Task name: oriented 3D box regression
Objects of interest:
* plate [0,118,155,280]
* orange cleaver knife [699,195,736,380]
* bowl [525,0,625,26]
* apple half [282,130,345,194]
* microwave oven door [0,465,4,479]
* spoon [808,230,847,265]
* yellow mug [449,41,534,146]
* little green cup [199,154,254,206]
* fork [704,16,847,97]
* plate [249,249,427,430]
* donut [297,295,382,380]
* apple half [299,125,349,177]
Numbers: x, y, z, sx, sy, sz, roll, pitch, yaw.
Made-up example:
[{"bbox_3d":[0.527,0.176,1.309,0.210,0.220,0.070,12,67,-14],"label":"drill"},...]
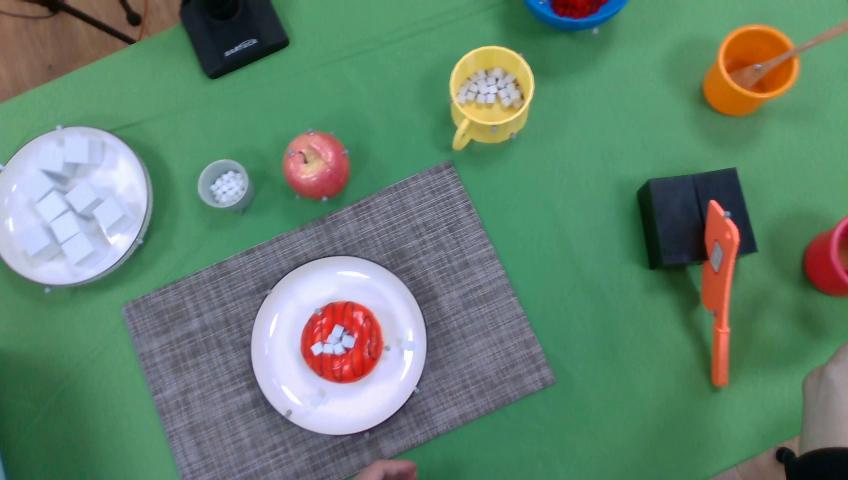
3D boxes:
[{"bbox_3d":[-0.437,-0.050,0.765,0.207,0.039,0.207,-1,80,3],"label":"plate"},{"bbox_3d":[0.325,0.056,0.680,0.012,0.076,0.212,-5,112,4],"label":"orange cleaver knife"},{"bbox_3d":[0.187,-0.327,0.759,0.151,0.077,0.151,-1,81,4],"label":"bowl"},{"bbox_3d":[-0.141,-0.086,0.738,0.053,0.075,0.080,-45,84,0],"label":"apple half"},{"bbox_3d":[-0.484,0.336,0.578,0.039,0.245,0.354,-22,79,-1],"label":"microwave oven door"},{"bbox_3d":[0.518,0.023,0.646,0.192,0.022,0.041,18,77,51],"label":"spoon"},{"bbox_3d":[0.073,-0.171,0.744,0.099,0.064,0.130,34,84,8],"label":"yellow mug"},{"bbox_3d":[-0.244,-0.072,0.759,0.061,0.039,0.061,-1,80,4],"label":"little green cup"},{"bbox_3d":[0.425,-0.220,0.691,0.207,0.019,0.028,-26,73,43],"label":"fork"},{"bbox_3d":[-0.099,0.115,0.714,0.209,0.038,0.208,-1,80,3],"label":"plate"},{"bbox_3d":[-0.098,0.112,0.703,0.099,0.048,0.098,0,82,4],"label":"donut"},{"bbox_3d":[-0.113,-0.114,0.740,0.033,0.081,0.081,-45,80,-1],"label":"apple half"}]
